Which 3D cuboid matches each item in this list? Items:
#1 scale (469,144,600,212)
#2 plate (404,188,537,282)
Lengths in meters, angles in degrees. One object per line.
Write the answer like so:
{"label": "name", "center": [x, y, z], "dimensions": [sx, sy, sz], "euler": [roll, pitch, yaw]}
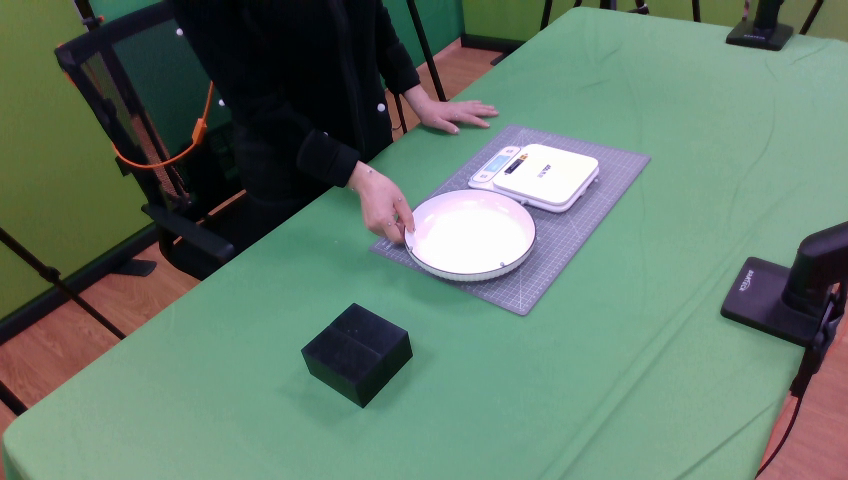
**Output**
{"label": "scale", "center": [0.194, -0.117, 1.075], "dimensions": [0.199, 0.032, 0.149], "euler": [21, 48, 32]}
{"label": "plate", "center": [0.072, -0.006, 0.954], "dimensions": [0.209, 0.038, 0.208], "euler": [-2, 42, 2]}
